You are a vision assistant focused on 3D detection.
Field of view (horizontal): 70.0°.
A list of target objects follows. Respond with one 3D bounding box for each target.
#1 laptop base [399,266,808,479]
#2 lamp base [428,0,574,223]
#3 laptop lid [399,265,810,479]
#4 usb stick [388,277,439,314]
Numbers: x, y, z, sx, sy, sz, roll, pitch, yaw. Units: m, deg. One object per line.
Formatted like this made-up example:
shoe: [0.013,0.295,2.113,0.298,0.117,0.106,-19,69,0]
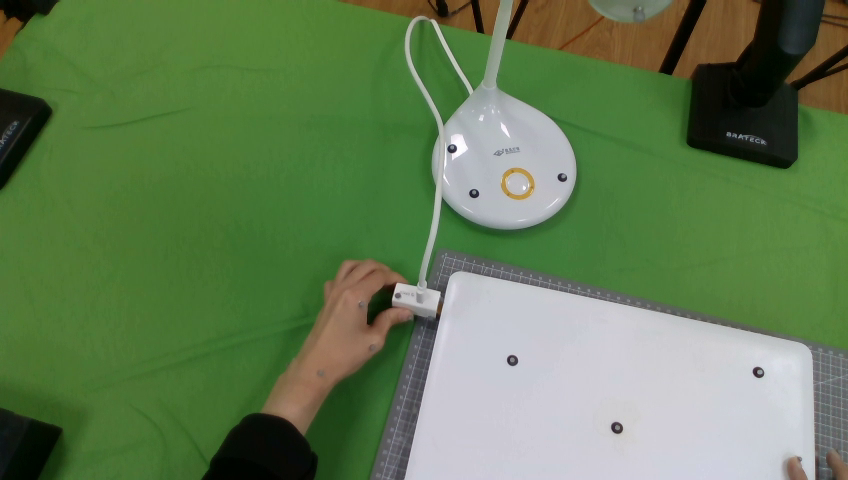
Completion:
laptop base: [0.169,0.166,0.556,0.354,0.023,0.234,12,69,3]
lamp base: [0.080,-0.134,0.601,0.161,0.181,0.177,-22,65,-11]
laptop lid: [0.169,0.163,0.545,0.356,0.013,0.240,13,69,4]
usb stick: [-0.005,0.056,0.587,0.059,0.027,0.021,13,60,1]
